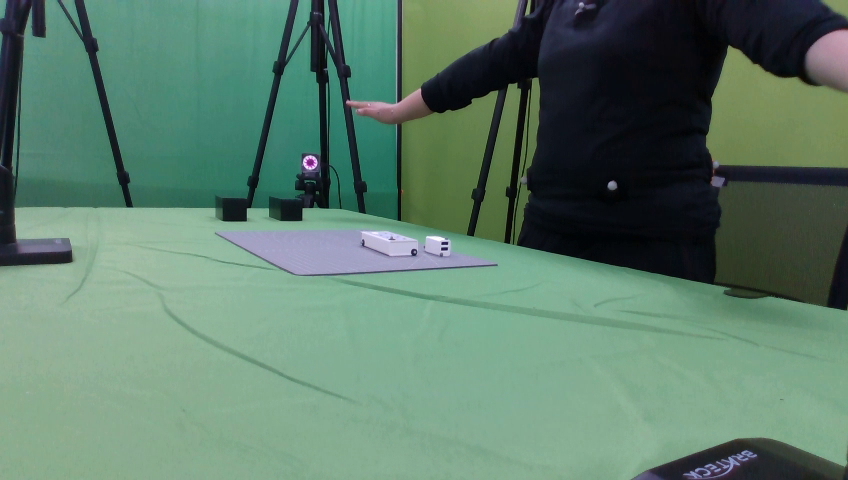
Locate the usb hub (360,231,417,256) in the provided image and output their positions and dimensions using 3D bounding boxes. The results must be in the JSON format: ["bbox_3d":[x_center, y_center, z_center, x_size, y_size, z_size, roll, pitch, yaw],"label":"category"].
[{"bbox_3d":[-0.059,0.004,0.951,0.050,0.025,0.124,-1,8,-26],"label":"usb hub"}]

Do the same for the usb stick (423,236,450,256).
[{"bbox_3d":[0.017,0.009,0.937,0.021,0.027,0.059,-1,5,-29],"label":"usb stick"}]
